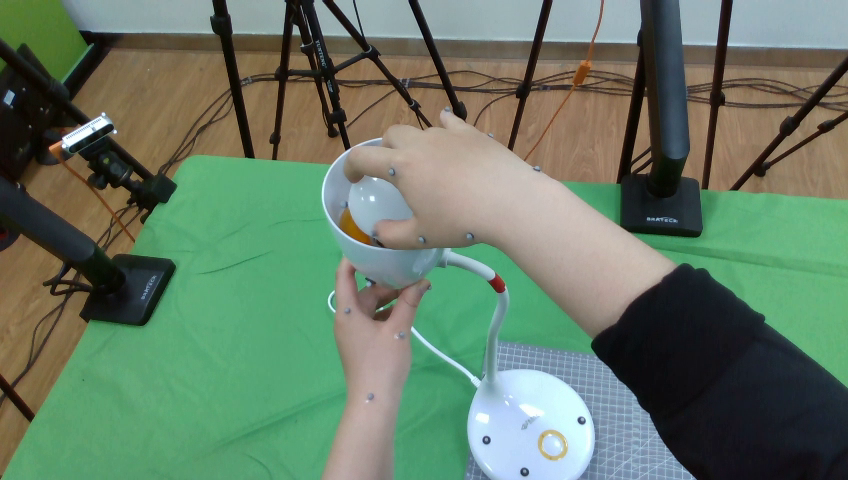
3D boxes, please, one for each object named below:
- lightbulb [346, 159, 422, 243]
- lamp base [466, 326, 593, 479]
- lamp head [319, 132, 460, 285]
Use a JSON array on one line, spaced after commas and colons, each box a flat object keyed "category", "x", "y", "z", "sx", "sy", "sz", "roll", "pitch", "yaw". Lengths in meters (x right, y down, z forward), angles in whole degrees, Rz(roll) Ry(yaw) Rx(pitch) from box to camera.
[{"category": "lightbulb", "x": -0.030, "y": -0.023, "z": 0.493, "sx": 0.059, "sy": 0.108, "sz": 0.059, "roll": -1, "pitch": 66, "yaw": 2}, {"category": "lamp base", "x": 0.115, "y": 0.182, "z": 0.720, "sx": 0.177, "sy": 0.182, "sz": 0.160, "roll": 29, "pitch": 62, "yaw": 29}, {"category": "lamp head", "x": -0.023, "y": -0.013, "z": 0.521, "sx": 0.112, "sy": 0.124, "sz": 0.111, "roll": -2, "pitch": 58, "yaw": 4}]
